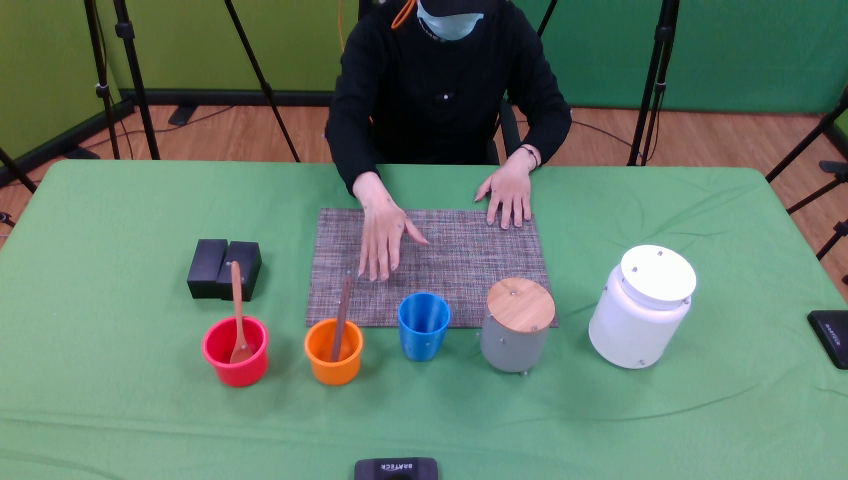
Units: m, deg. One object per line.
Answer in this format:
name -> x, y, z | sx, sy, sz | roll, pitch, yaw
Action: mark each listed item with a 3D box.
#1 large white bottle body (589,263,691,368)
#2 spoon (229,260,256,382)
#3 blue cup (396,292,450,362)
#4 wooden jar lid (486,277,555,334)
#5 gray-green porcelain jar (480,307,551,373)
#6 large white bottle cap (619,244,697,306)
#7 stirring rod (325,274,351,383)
large white bottle body -> 0.358, 0.111, 1.000 | 0.131, 0.185, 0.130 | 2, 46, -2
spoon -> -0.295, 0.129, 0.966 | 0.042, 0.021, 0.193 | -4, 90, -9
blue cup -> -0.005, 0.149, 0.997 | 0.093, 0.101, 0.092 | 3, 47, -3
wooden jar lid -> 0.150, 0.105, 0.948 | 0.108, 0.021, 0.107 | 3, 47, -3
gray-green porcelain jar -> 0.148, 0.148, 0.992 | 0.106, 0.127, 0.105 | 2, 46, -2
large white bottle cap -> 0.362, 0.052, 0.939 | 0.115, 0.018, 0.114 | 2, 46, -2
stirring rod -> -0.137, 0.142, 0.971 | 0.014, 0.006, 0.176 | 9, 89, 0
